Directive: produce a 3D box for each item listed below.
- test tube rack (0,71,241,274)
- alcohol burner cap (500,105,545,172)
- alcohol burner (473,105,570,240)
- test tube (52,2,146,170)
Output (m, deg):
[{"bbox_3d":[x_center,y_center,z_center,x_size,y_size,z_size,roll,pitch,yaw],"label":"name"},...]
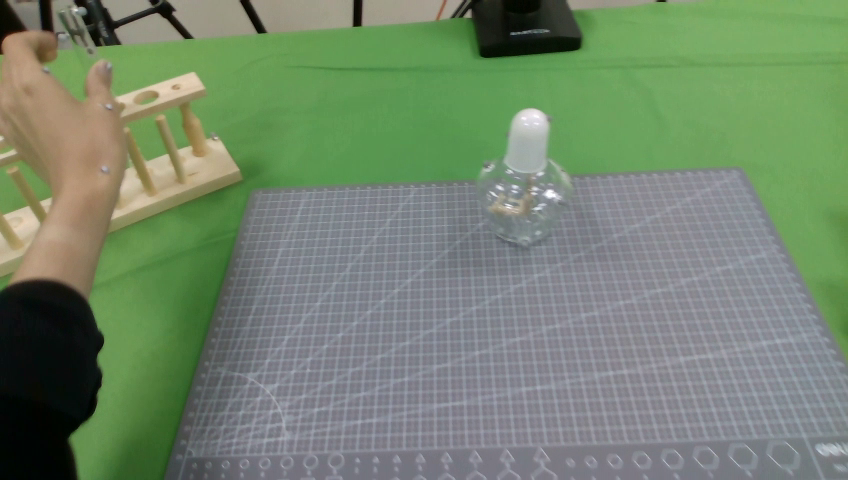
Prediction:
[{"bbox_3d":[-0.297,-0.058,0.528,0.242,0.086,0.066,-26,50,-19],"label":"test tube rack"},{"bbox_3d":[0.076,-0.079,0.455,0.034,0.048,0.033,0,46,0],"label":"alcohol burner cap"},{"bbox_3d":[0.078,-0.056,0.476,0.078,0.120,0.077,-1,48,1],"label":"alcohol burner"},{"bbox_3d":[-0.273,-0.125,0.517,0.017,0.151,0.017,-5,38,4],"label":"test tube"}]
